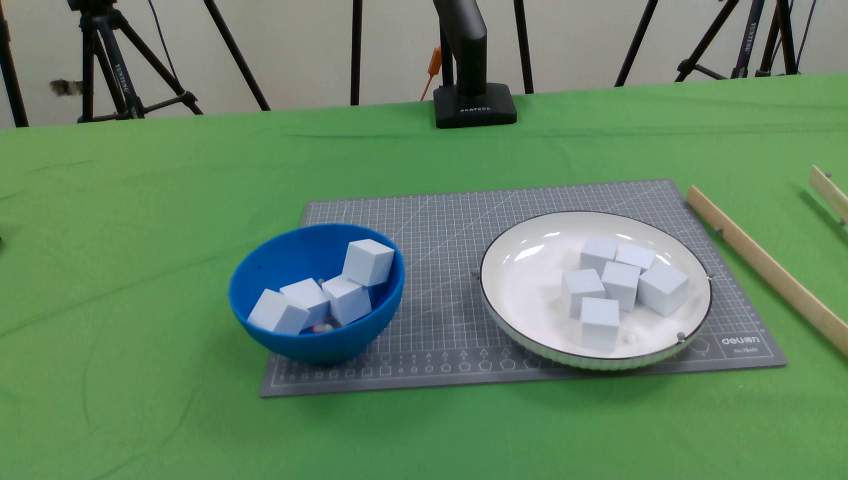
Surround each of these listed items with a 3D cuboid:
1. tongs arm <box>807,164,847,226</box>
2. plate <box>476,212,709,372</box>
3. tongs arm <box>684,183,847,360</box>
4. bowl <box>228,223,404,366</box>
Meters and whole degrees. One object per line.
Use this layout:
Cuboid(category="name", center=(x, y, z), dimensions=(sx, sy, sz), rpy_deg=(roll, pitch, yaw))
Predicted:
Cuboid(category="tongs arm", center=(0.432, 0.043, 0.555), dimensions=(0.051, 0.027, 0.381), rpy_deg=(-4, 39, 1))
Cuboid(category="plate", center=(0.153, 0.047, 0.569), dimensions=(0.207, 0.039, 0.205), rpy_deg=(-2, 37, 2))
Cuboid(category="tongs arm", center=(0.354, 0.055, 0.553), dimensions=(0.028, 0.028, 0.383), rpy_deg=(-10, 38, -11))
Cuboid(category="bowl", center=(-0.090, 0.059, 0.542), dimensions=(0.151, 0.077, 0.150), rpy_deg=(-2, 37, 2))
